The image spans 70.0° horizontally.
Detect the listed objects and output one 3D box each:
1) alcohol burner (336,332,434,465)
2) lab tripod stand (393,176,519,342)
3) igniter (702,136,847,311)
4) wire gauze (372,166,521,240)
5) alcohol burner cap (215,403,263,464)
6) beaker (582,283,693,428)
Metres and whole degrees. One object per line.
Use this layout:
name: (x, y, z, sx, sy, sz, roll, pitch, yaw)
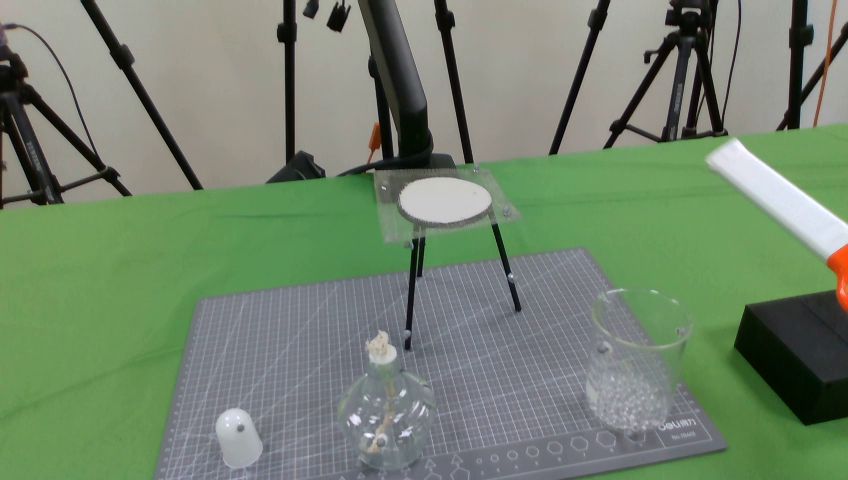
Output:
alcohol burner: (-0.031, 0.115, 0.464, 0.078, 0.120, 0.077, -1, 35, 1)
lab tripod stand: (0.023, 0.013, 0.600, 0.148, 0.132, 0.147, -1, 31, 1)
igniter: (0.297, 0.014, 0.419, 0.057, 0.025, 0.273, -36, 48, 7)
wire gauze: (0.015, -0.041, 0.560, 0.122, 0.011, 0.124, -6, 33, -7)
alcohol burner cap: (-0.149, 0.151, 0.484, 0.034, 0.048, 0.033, -2, 34, 1)
beaker: (0.166, 0.095, 0.494, 0.074, 0.101, 0.083, -17, 35, -21)
